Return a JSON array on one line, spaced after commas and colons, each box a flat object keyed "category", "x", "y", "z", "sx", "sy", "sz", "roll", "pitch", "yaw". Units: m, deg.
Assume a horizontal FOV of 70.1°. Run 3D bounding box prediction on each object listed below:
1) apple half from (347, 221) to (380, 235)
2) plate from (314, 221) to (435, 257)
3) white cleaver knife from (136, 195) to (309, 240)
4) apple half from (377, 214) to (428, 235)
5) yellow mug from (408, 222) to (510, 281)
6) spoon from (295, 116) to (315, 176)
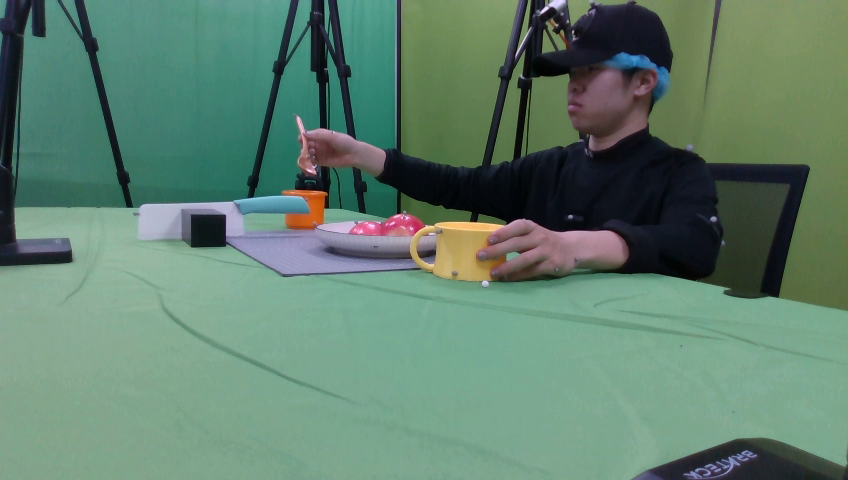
[{"category": "apple half", "x": -0.089, "y": -0.014, "z": 0.985, "sx": 0.081, "sy": 0.033, "sz": 0.081, "roll": 5, "pitch": 6, "yaw": 0}, {"category": "plate", "x": -0.067, "y": -0.002, "z": 0.948, "sx": 0.209, "sy": 0.038, "sz": 0.209, "roll": 3, "pitch": 7, "yaw": 0}, {"category": "white cleaver knife", "x": -0.337, "y": -0.039, "z": 1.037, "sx": 0.288, "sy": 0.066, "sz": 0.021, "roll": -6, "pitch": 15, "yaw": -29}, {"category": "apple half", "x": -0.034, "y": -0.013, "z": 0.924, "sx": 0.080, "sy": 0.053, "sz": 0.075, "roll": 5, "pitch": 10, "yaw": 16}, {"category": "yellow mug", "x": 0.044, "y": 0.012, "z": 0.784, "sx": 0.131, "sy": 0.064, "sz": 0.100, "roll": 2, "pitch": 6, "yaw": 4}, {"category": "spoon", "x": -0.248, "y": -0.196, "z": 1.242, "sx": 0.042, "sy": 0.193, "sz": 0.021, "roll": 23, "pitch": -51, "yaw": -38}]
